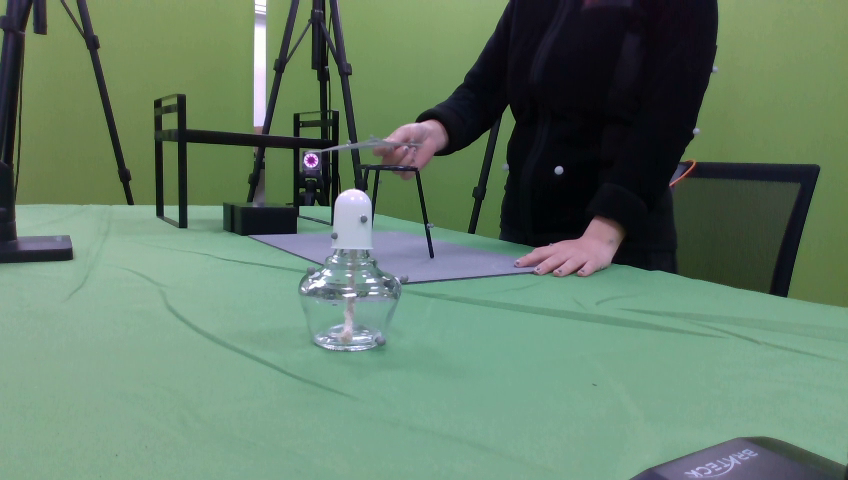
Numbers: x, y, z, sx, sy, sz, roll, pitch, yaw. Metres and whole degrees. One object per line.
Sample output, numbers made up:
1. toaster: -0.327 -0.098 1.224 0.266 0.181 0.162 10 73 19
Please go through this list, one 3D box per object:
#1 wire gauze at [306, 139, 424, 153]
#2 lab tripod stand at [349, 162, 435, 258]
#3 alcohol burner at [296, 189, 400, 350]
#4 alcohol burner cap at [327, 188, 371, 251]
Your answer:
1. wire gauze: -0.083 -0.136 0.866 0.121 0.011 0.125 0 10 33
2. lab tripod stand: -0.056 -0.044 0.863 0.148 0.131 0.148 3 9 0
3. alcohol burner: -0.056 0.021 0.453 0.078 0.119 0.078 3 6 0
4. alcohol burner cap: -0.055 -0.015 0.448 0.034 0.048 0.034 0 1 0
